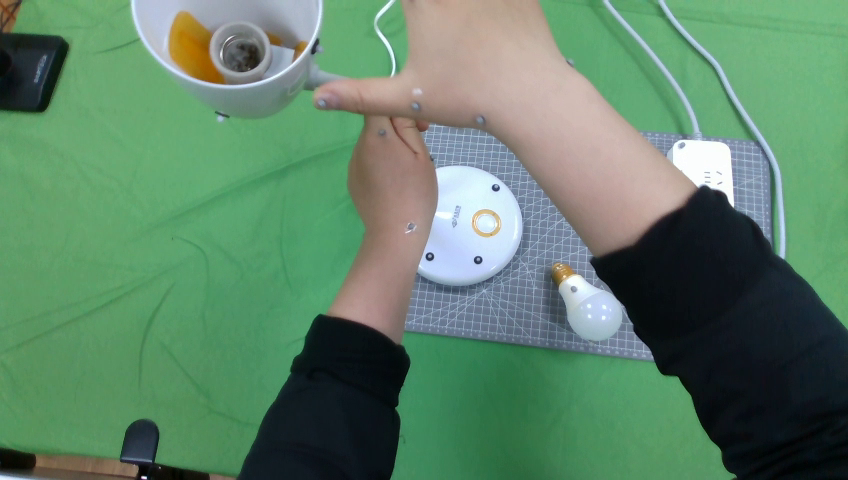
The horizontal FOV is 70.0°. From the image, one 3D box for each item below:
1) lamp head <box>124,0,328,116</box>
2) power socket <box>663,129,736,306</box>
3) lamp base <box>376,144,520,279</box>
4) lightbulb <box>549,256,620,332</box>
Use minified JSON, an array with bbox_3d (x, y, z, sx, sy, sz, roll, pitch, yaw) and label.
[{"bbox_3d":[-0.124,-0.135,0.415,0.112,0.123,0.112,1,80,-3],"label":"lamp head"},{"bbox_3d":[0.331,-0.033,0.734,0.072,0.033,0.225,4,72,4],"label":"power socket"},{"bbox_3d":[0.021,-0.054,0.681,0.179,0.181,0.159,0,71,6],"label":"lamp base"},{"bbox_3d":[0.181,0.059,0.704,0.059,0.060,0.106,-30,57,-6],"label":"lightbulb"}]
